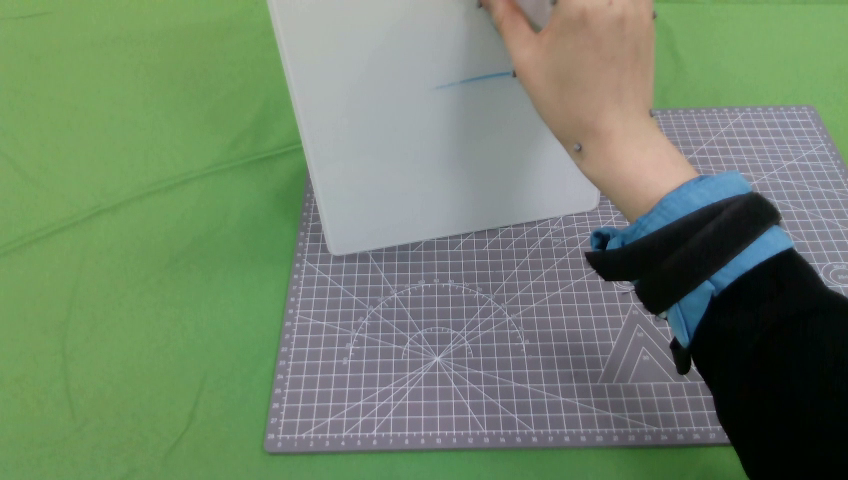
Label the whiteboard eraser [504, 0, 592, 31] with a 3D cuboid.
[{"bbox_3d":[0.058,-0.161,0.358,0.102,0.041,0.018,24,26,-26],"label":"whiteboard eraser"}]

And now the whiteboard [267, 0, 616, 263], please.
[{"bbox_3d":[0.009,-0.164,0.437,0.217,0.308,0.142,-10,35,-4],"label":"whiteboard"}]
